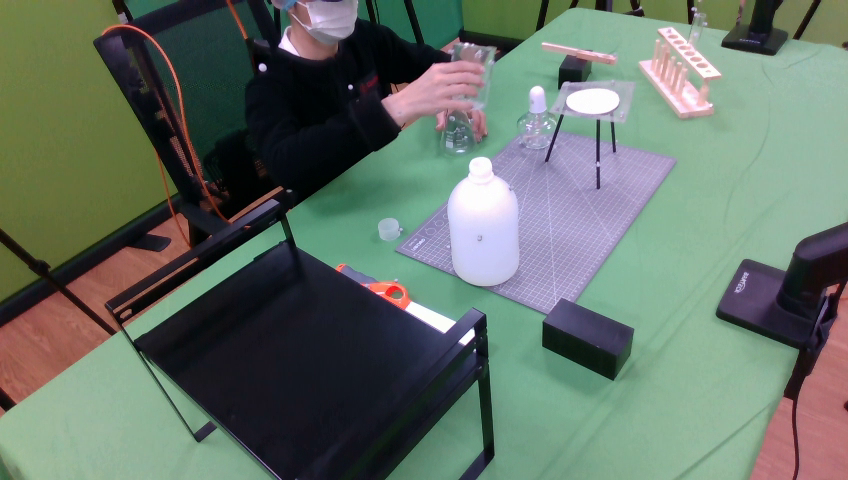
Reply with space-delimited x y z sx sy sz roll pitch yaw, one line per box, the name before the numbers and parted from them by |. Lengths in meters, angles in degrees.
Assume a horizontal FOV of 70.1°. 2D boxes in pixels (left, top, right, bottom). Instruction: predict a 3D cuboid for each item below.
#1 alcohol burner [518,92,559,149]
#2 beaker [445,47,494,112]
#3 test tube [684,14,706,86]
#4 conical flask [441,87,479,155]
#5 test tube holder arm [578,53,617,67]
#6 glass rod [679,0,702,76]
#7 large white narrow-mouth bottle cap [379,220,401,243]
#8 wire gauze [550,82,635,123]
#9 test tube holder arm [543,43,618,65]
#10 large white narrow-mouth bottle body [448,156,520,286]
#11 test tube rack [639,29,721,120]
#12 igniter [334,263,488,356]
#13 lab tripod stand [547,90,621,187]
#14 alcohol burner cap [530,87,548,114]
alcohol burner | 0.218 -0.235 1.149 0.078 0.119 0.077 -5 43 5
beaker | 0.075 -0.272 1.024 0.073 0.100 0.084 13 19 16
test tube | 0.540 -0.378 1.215 0.017 0.151 0.017 -2 44 3
conical flask | 0.066 -0.232 1.168 0.075 0.122 0.075 -5 40 4
test tube holder arm | 0.376 -0.393 1.314 0.087 0.015 0.010 25 49 32
glass rod | 0.543 -0.417 1.233 0.008 0.200 0.008 1 39 0
large white narrow-mouth bottle cap | -0.057 -0.015 1.011 0.038 0.024 0.037 -4 40 4
wire gauze | 0.285 -0.236 1.020 0.124 0.011 0.121 10 44 22
test tube holder arm | 0.345 -0.413 1.340 0.177 0.015 0.013 25 49 32
large white narrow-mouth bottle body | 0.086 -0.032 0.869 0.102 0.195 0.101 -4 40 4
test tube rack | 0.527 -0.351 1.262 0.067 0.085 0.241 -8 40 1
igniter | -0.030 0.095 0.872 0.274 0.025 0.057 23 60 31
lab tripod stand | 0.289 -0.184 1.062 0.148 0.132 0.147 -6 41 6
alcohol burner cap | 0.212 -0.262 1.126 0.034 0.048 0.033 -8 36 7
